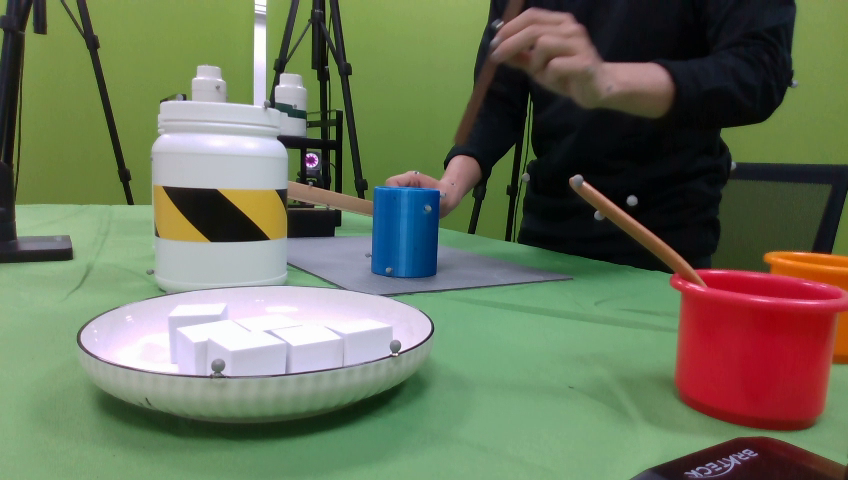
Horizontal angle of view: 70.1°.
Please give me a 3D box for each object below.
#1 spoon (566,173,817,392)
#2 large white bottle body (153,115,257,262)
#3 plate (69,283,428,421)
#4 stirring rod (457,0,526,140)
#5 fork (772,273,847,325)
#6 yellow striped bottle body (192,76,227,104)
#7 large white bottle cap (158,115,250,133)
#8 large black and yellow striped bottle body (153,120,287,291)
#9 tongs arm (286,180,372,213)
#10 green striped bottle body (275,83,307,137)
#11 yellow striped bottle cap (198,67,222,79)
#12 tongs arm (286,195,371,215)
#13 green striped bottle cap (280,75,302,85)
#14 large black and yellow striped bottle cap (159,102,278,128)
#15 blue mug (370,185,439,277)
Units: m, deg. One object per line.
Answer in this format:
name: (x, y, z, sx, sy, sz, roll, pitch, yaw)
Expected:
spoon: (0.161, 0.024, 0.370, 0.193, 0.021, 0.042, 47, 17, 3)
large white bottle body: (-0.293, -0.070, 0.813, 0.131, 0.184, 0.130, 2, 7, 0)
plate: (-0.102, 0.066, 0.381, 0.208, 0.039, 0.207, 2, 7, 0)
stirring rod: (0.074, -0.189, 0.634, 0.014, 0.176, 0.006, 24, 13, 5)
fork: (0.332, 0.018, 0.444, 0.028, 0.018, 0.207, 0, -36, -14)
yellow striped bottle body: (-0.414, -0.268, 1.169, 0.063, 0.120, 0.063, 2, 7, 0)
large white bottle cap: (-0.291, -0.153, 0.803, 0.115, 0.018, 0.115, 1, 7, 0)
large black and yellow striped bottle body: (-0.208, -0.042, 0.626, 0.131, 0.184, 0.130, 2, 7, 0)
tongs arm: (-0.122, -0.066, 1.147, 0.387, 0.026, 0.050, 11, -2, -37)
green striped bottle body: (-0.269, -0.269, 1.221, 0.063, 0.119, 0.063, 2, 7, 0)
yellow striped bottle cap: (-0.412, -0.320, 1.162, 0.044, 0.018, 0.044, 0, 5, 0)
tongs arm: (-0.165, -0.075, 1.216, 0.389, 0.027, 0.028, 11, -6, -24)
green striped bottle cap: (-0.267, -0.320, 1.216, 0.044, 0.020, 0.044, 4, 9, 0)
large black and yellow striped bottle cap: (-0.207, -0.125, 0.615, 0.115, 0.019, 0.115, 2, 6, 0)
blue mug: (-0.025, -0.015, 0.760, 0.082, 0.106, 0.116, 2, 7, -3)
